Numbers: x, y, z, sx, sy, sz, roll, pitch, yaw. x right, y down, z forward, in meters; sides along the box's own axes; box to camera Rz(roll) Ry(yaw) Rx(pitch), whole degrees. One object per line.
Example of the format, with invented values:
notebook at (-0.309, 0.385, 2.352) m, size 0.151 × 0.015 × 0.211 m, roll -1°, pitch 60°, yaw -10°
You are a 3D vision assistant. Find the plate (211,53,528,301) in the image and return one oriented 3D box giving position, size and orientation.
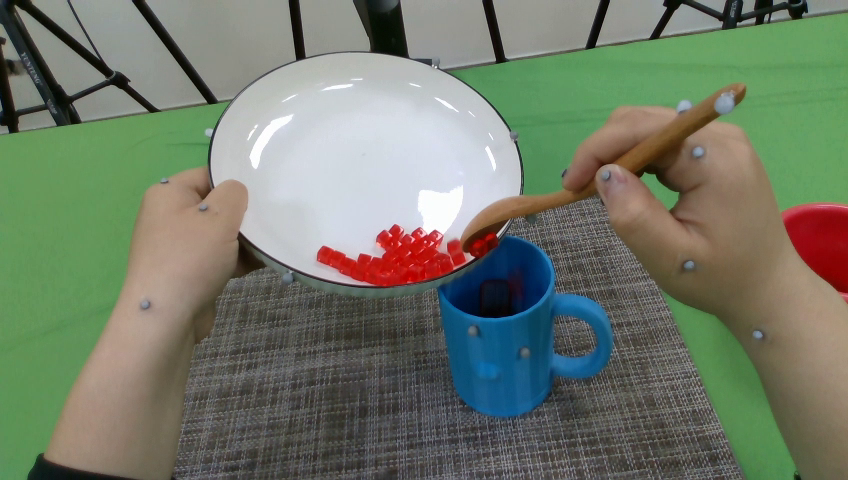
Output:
plate at (-0.035, -0.046, 0.416) m, size 0.208 × 0.039 × 0.205 m, roll 4°, pitch 56°, yaw -6°

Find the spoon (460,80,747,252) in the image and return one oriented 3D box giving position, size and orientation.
spoon at (0.071, -0.025, 0.292) m, size 0.042 × 0.193 × 0.021 m, roll -26°, pitch 90°, yaw -30°

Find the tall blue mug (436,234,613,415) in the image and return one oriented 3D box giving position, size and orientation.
tall blue mug at (0.067, 0.057, 0.420) m, size 0.107 × 0.109 × 0.077 m, roll -12°, pitch 42°, yaw -2°
